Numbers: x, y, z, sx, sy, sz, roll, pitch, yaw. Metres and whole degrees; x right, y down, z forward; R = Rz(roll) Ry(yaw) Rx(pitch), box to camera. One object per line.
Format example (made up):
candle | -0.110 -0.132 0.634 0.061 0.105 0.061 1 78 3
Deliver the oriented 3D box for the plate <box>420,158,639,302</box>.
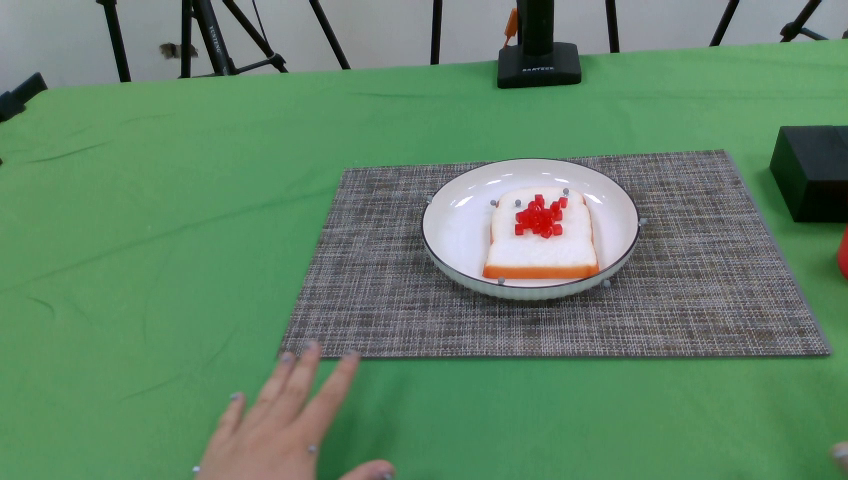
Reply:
plate | 0.100 -0.011 0.597 0.209 0.038 0.207 -5 40 5

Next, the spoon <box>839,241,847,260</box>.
spoon | 0.432 -0.021 0.473 0.022 0.194 0.041 47 48 -8

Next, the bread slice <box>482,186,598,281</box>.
bread slice | 0.113 -0.010 0.597 0.105 0.019 0.130 0 41 9
